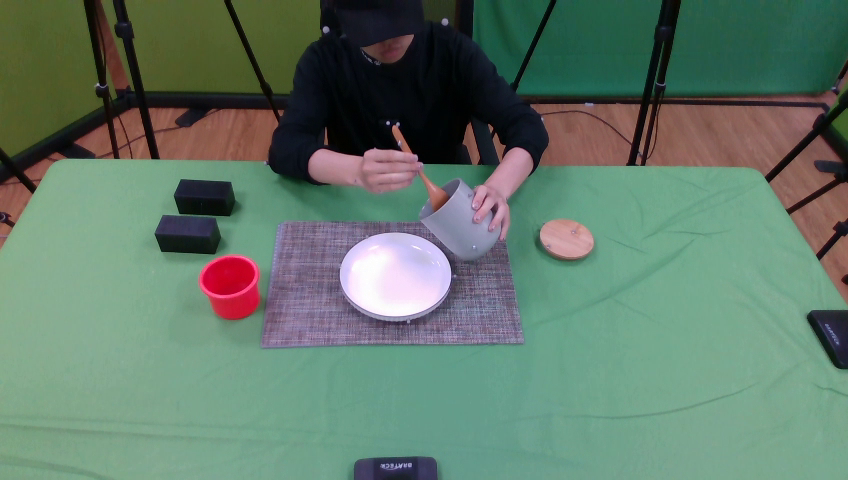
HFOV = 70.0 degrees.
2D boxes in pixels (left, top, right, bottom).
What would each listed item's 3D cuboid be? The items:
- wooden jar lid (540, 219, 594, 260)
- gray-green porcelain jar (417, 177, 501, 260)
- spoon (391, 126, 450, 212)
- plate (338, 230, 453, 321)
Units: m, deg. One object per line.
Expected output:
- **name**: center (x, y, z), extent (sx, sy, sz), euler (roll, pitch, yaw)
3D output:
- **wooden jar lid**: center (0.286, 0.001, 1.218), extent (0.108, 0.021, 0.107), euler (1, 46, -1)
- **gray-green porcelain jar**: center (0.069, -0.034, 1.095), extent (0.127, 0.106, 0.105), euler (44, 45, -18)
- **spoon**: center (-0.006, -0.116, 1.055), extent (0.041, 0.194, 0.021), euler (-43, 26, -15)
- **plate**: center (-0.052, 0.068, 1.111), extent (0.208, 0.039, 0.206), euler (2, 46, -2)
